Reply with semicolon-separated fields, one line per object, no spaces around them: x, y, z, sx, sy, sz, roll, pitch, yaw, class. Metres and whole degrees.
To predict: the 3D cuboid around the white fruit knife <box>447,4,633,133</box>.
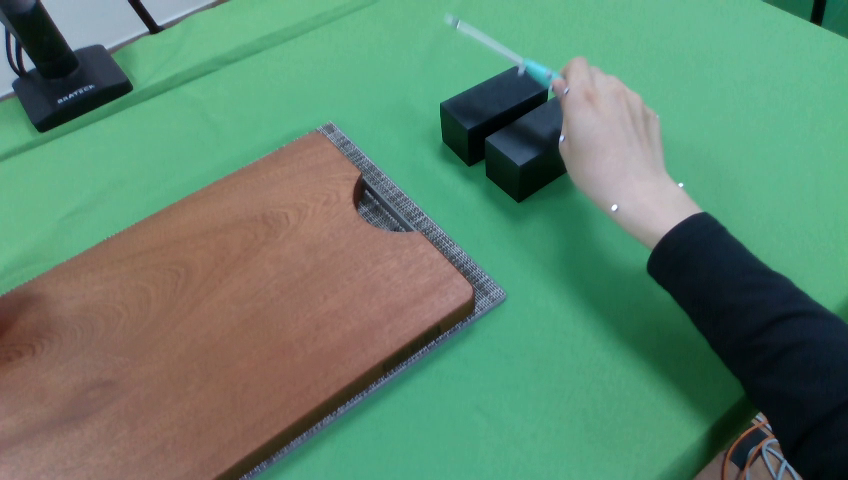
0.100;-0.159;0.544;0.206;0.027;0.016;38;87;16;white fruit knife

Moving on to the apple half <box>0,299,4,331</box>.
-0.365;0.048;0.492;0.033;0.082;0.080;-28;54;-10;apple half
